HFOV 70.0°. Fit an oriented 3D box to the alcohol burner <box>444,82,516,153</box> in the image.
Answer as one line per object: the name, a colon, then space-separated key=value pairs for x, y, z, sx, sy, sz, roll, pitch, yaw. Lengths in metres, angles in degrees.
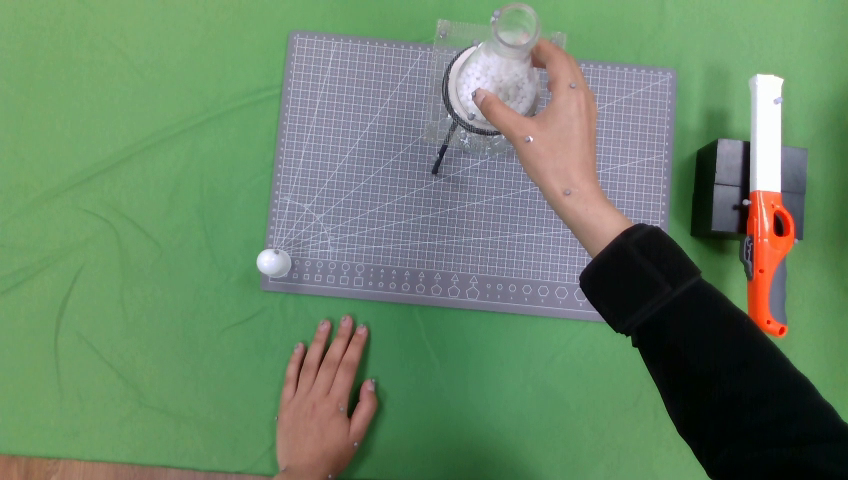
alcohol burner: x=0.060 y=-0.134 z=0.637 sx=0.078 sy=0.119 sz=0.077 roll=0 pitch=85 yaw=0

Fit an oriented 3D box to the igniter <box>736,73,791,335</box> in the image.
igniter: x=0.356 y=-0.040 z=0.636 sx=0.057 sy=0.025 sz=0.275 roll=4 pitch=82 yaw=-5

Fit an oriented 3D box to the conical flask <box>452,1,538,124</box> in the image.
conical flask: x=0.065 y=-0.149 z=0.502 sx=0.075 sy=0.122 sz=0.075 roll=0 pitch=82 yaw=-2

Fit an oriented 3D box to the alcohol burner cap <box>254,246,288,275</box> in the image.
alcohol burner cap: x=-0.167 y=0.020 z=0.652 sx=0.034 sy=0.048 sz=0.034 roll=0 pitch=83 yaw=-3

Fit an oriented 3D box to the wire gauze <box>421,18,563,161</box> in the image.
wire gauze: x=0.064 y=-0.142 z=0.561 sx=0.125 sy=0.011 sz=0.121 roll=8 pitch=85 yaw=-2

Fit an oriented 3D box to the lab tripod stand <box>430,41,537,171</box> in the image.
lab tripod stand: x=0.057 y=-0.140 z=0.627 sx=0.148 sy=0.132 sz=0.148 roll=0 pitch=84 yaw=0
